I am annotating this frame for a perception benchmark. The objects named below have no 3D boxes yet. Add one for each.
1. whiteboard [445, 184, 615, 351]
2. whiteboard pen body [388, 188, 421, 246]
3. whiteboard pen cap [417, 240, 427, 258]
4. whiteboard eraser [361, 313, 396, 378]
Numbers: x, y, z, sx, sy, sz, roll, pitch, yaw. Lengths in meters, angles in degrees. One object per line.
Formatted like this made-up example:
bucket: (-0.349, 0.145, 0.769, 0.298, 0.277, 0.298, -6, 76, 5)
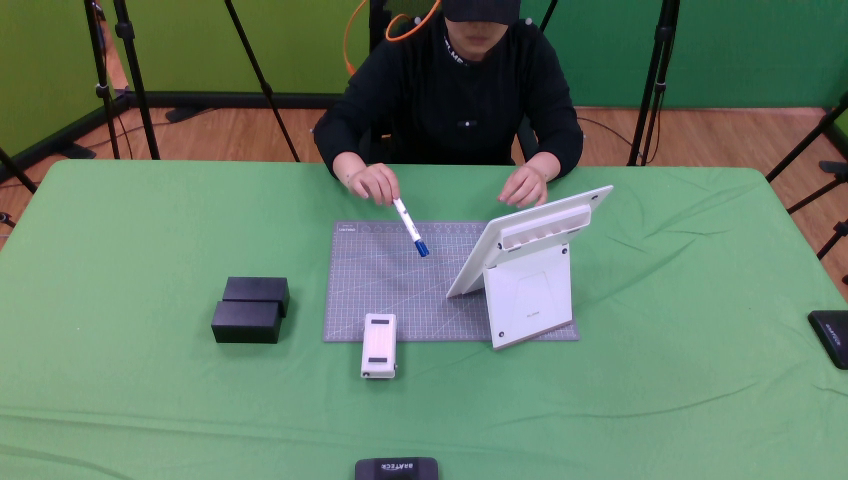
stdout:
whiteboard: (0.187, 0.065, 0.989, 0.217, 0.306, 0.143, -15, 68, -18)
whiteboard pen body: (-0.032, -0.036, 1.118, 0.017, 0.017, 0.140, -21, 74, -22)
whiteboard pen cap: (-0.003, 0.017, 1.103, 0.018, 0.033, 0.018, -5, 23, 2)
whiteboard eraser: (-0.075, 0.176, 1.006, 0.055, 0.042, 0.112, 3, 50, -4)
